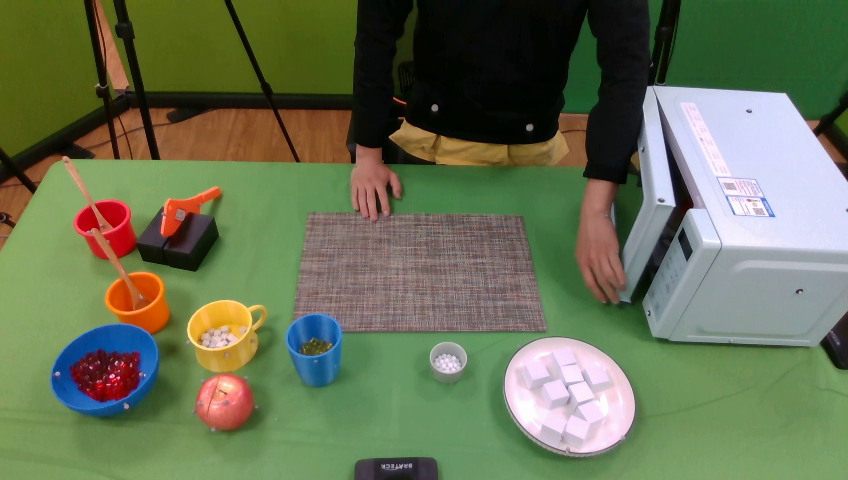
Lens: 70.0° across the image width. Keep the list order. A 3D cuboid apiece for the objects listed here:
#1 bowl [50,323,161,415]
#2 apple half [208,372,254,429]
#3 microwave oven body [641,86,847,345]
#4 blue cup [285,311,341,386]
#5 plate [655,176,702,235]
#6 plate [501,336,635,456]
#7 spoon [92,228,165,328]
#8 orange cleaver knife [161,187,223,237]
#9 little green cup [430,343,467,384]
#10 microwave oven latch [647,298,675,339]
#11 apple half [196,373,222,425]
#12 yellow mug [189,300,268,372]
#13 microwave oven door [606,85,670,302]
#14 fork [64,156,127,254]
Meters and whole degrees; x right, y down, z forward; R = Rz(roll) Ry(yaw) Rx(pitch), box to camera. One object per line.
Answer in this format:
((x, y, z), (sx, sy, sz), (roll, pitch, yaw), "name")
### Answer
((-0.472, 0.209, 0.924), (0.151, 0.077, 0.150), (3, 45, -2), "bowl")
((-0.282, 0.244, 0.908), (0.053, 0.075, 0.080), (7, 43, -1), "apple half")
((0.567, -0.053, 1.119), (0.326, 0.261, 0.439), (2, 45, -1), "microwave oven body")
((-0.170, 0.180, 0.958), (0.093, 0.101, 0.092), (1, 44, -1), "blue cup")
((0.555, -0.047, 1.182), (0.209, 0.038, 0.208), (1, 45, -1), "plate")
((0.225, 0.248, 0.963), (0.208, 0.039, 0.206), (2, 46, -2), "plate")
((-0.496, 0.063, 1.014), (0.041, 0.194, 0.021), (-33, 12, -31), "spoon")
((-0.448, -0.058, 1.181), (0.012, 0.077, 0.211), (13, 17, 6), "orange cleaver knife")
((0.038, 0.203, 0.994), (0.061, 0.039, 0.061), (2, 46, -2), "little green cup")
((0.413, 0.134, 1.061), (0.030, 0.029, 0.078), (5, 45, 2), "microwave oven latch")
((-0.322, 0.240, 0.907), (0.033, 0.081, 0.081), (7, 46, 0), "apple half")
((-0.316, 0.149, 1.002), (0.131, 0.064, 0.099), (-32, 56, -31), "yellow mug")
((0.397, -0.097, 1.141), (0.039, 0.245, 0.354), (8, 46, 5), "microwave oven door")
((-0.614, -0.064, 1.130), (0.028, 0.018, 0.207), (-29, 97, -16), "fork")
